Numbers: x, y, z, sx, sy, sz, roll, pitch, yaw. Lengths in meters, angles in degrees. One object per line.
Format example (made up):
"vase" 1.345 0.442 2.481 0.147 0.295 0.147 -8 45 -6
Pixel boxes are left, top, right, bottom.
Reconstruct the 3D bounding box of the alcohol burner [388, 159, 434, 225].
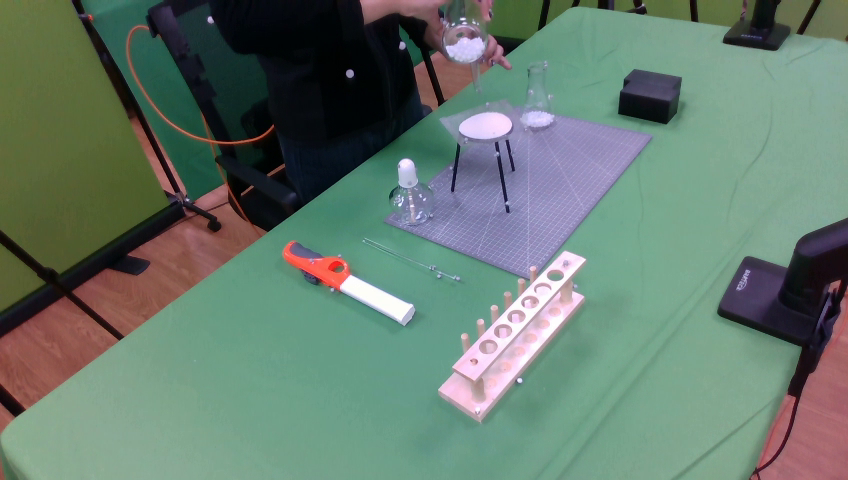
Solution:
"alcohol burner" -0.023 -0.084 1.013 0.078 0.119 0.077 -4 39 4

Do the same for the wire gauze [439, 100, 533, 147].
"wire gauze" 0.100 -0.190 0.994 0.125 0.011 0.120 -15 39 -7

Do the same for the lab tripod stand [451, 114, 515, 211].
"lab tripod stand" 0.113 -0.140 1.037 0.148 0.132 0.147 -6 38 5

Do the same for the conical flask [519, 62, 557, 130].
"conical flask" 0.225 -0.287 1.198 0.075 0.122 0.075 -6 40 5

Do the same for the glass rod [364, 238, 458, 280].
"glass rod" -0.026 0.029 0.966 0.198 0.008 0.008 21 49 35

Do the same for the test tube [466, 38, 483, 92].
"test tube" 0.090 -0.305 1.069 0.017 0.151 0.017 -3 71 10

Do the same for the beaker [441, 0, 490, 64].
"beaker" 0.065 -0.324 0.941 0.074 0.084 0.100 -3 43 11

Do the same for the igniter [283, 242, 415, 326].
"igniter" -0.126 0.062 0.931 0.274 0.025 0.057 23 61 33

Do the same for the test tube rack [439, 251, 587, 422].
"test tube rack" 0.118 0.111 0.780 0.066 0.085 0.243 26 51 35

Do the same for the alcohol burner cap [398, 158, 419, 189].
"alcohol burner cap" -0.027 -0.111 0.989 0.034 0.048 0.033 -3 47 4
